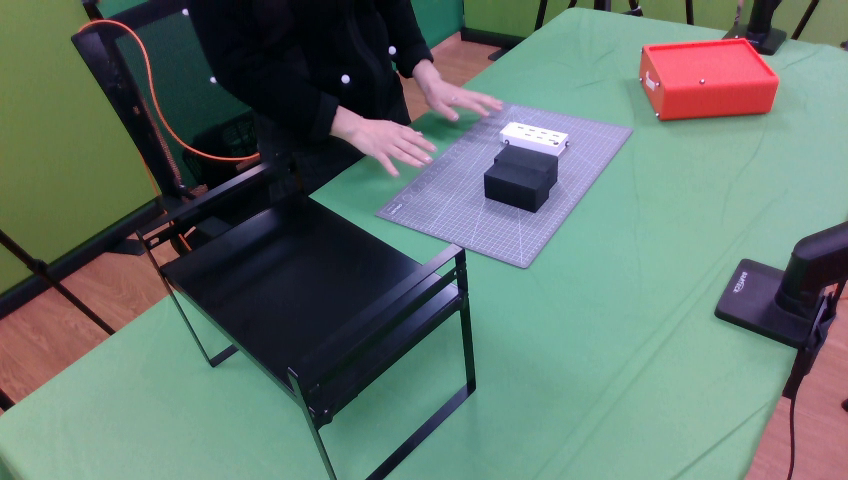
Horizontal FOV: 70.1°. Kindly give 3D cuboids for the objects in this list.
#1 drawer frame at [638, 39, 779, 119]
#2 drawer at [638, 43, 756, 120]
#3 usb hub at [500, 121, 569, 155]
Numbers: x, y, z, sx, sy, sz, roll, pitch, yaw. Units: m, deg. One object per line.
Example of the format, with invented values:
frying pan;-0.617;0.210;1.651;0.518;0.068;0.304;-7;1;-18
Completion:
drawer frame;0.563;-0.329;1.227;0.213;0.083;0.200;-2;40;4
drawer;0.562;-0.326;1.229;0.212;0.073;0.193;-2;40;5
usb hub;0.212;-0.198;1.167;0.124;0.025;0.049;20;48;28
